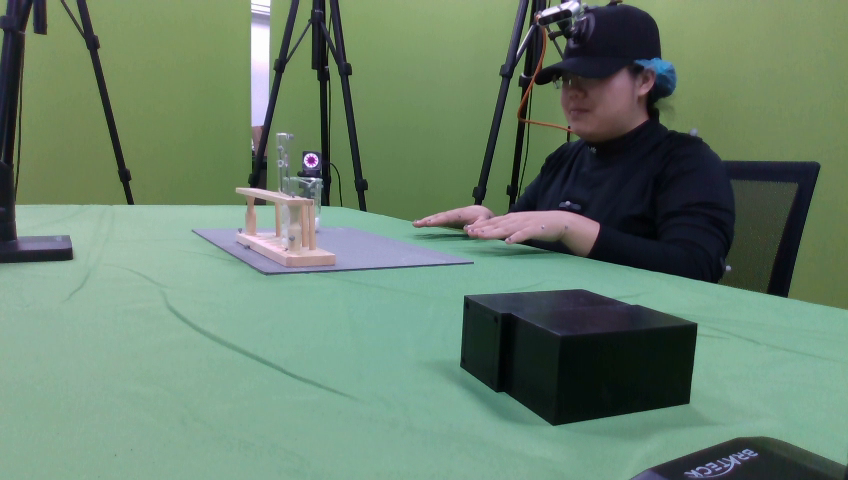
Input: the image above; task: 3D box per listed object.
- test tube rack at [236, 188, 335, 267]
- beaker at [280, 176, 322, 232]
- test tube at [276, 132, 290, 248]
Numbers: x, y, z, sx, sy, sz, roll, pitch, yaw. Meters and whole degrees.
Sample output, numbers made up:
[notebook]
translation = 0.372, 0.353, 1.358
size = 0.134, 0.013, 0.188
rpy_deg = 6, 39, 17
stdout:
[test tube rack]
translation = -0.202, -0.025, 0.855
size = 0.067, 0.085, 0.241
rpy_deg = -2, 9, -31
[beaker]
translation = -0.224, -0.065, 1.111
size = 0.074, 0.100, 0.083
rpy_deg = -2, 10, -30
[test tube]
translation = -0.180, -0.063, 0.778
size = 0.017, 0.150, 0.017
rpy_deg = 0, 9, 0
